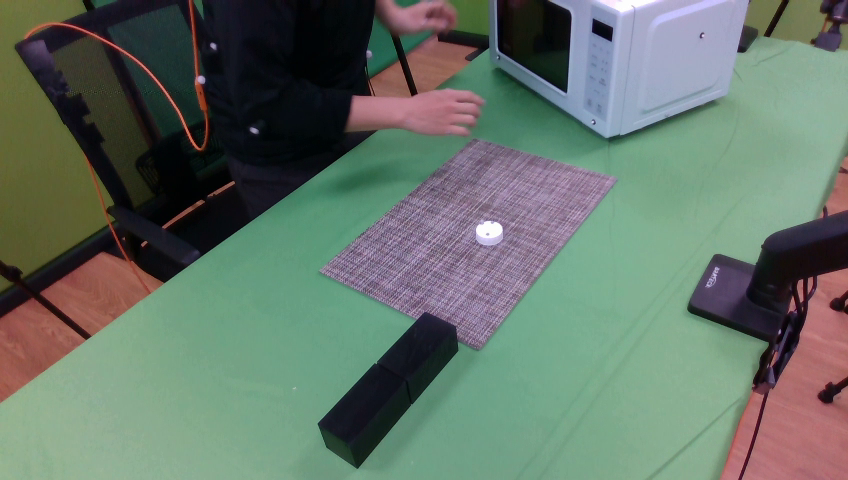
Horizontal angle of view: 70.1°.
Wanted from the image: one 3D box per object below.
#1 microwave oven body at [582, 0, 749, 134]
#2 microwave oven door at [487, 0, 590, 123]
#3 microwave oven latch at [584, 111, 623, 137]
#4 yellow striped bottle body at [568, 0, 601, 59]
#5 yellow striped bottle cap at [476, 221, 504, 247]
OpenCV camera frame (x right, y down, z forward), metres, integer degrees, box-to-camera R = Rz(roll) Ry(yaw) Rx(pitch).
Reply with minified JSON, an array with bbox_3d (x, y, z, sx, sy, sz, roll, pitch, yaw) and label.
[{"bbox_3d":[0.382,-0.444,1.246,0.327,0.261,0.437,-22,42,-16],"label":"microwave oven body"},{"bbox_3d":[0.232,-0.420,1.230,0.039,0.245,0.352,-22,43,-16],"label":"microwave oven door"},{"bbox_3d":[0.337,-0.222,1.142,0.030,0.029,0.078,-21,42,-14],"label":"microwave oven latch"},{"bbox_3d":[0.336,-0.448,1.268,0.063,0.121,0.062,-5,44,5],"label":"yellow striped bottle body"},{"bbox_3d":[0.105,-0.010,0.966,0.044,0.019,0.044,-4,39,4],"label":"yellow striped bottle cap"}]
